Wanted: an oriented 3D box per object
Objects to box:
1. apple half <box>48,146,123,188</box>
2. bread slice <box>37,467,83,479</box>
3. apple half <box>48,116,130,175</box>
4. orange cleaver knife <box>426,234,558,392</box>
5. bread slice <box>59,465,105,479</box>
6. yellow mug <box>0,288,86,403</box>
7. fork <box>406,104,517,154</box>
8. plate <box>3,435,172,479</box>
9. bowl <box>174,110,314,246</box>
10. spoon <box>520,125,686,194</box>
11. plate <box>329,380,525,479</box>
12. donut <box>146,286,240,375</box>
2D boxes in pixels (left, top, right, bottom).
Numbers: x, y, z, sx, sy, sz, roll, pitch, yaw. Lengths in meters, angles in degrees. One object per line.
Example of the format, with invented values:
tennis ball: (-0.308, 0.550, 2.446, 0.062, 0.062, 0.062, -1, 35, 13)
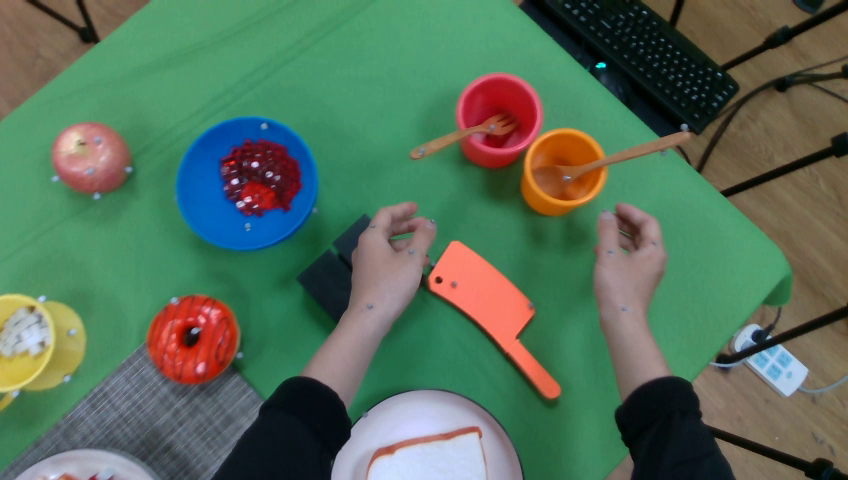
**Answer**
apple half: (-0.385, -0.075, 0.687, 0.081, 0.081, 0.032, 12, 74, 1)
bread slice: (-0.358, 0.309, 0.606, 0.107, 0.018, 0.134, 14, 76, 5)
apple half: (-0.377, -0.112, 0.696, 0.081, 0.075, 0.053, 12, 73, 5)
orange cleaver knife: (0.089, 0.082, 0.701, 0.077, 0.012, 0.210, -42, 82, -15)
bread slice: (-0.357, 0.316, 0.632, 0.105, 0.019, 0.131, 18, 78, 1)
yellow mug: (-0.440, 0.119, 0.655, 0.100, 0.064, 0.130, 22, 80, 2)
fork: (0.046, -0.124, 0.673, 0.028, 0.018, 0.207, 53, 41, 8)
plate: (-0.350, 0.309, 0.631, 0.208, 0.039, 0.206, 0, 79, -1)
bowl: (-0.194, -0.061, 0.689, 0.151, 0.077, 0.151, 0, 80, -2)
spoon: (0.191, -0.090, 0.670, 0.022, 0.193, 0.041, 5, 74, -46)
plate: (0.003, 0.256, 0.655, 0.209, 0.038, 0.208, 0, 80, -1)
donut: (-0.255, 0.100, 0.671, 0.099, 0.048, 0.098, 0, 80, -2)
